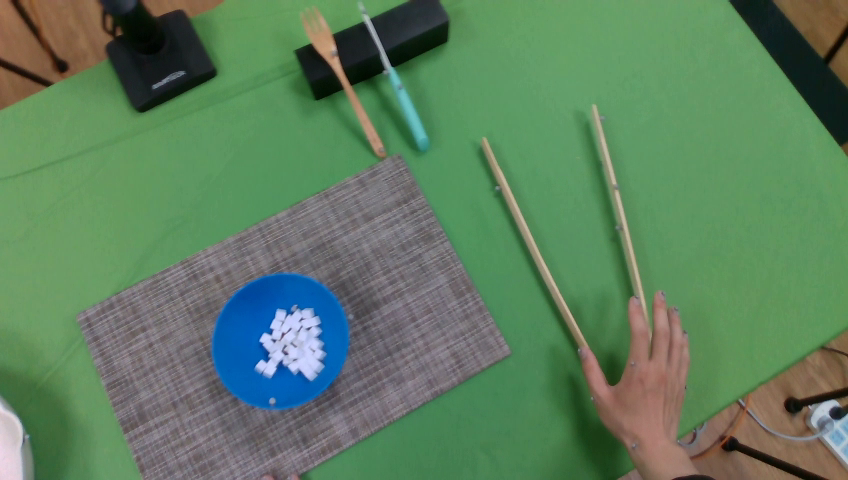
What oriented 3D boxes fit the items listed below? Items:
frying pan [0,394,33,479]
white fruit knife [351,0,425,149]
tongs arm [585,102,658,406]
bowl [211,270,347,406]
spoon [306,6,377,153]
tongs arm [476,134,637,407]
[{"bbox_3d":[-0.524,0.361,0.632,0.307,0.103,0.484,-28,70,-6],"label":"frying pan"},{"bbox_3d":[-0.049,-0.215,0.786,0.016,0.027,0.207,-27,93,-12],"label":"white fruit knife"},{"bbox_3d":[0.234,0.010,0.759,0.051,0.026,0.383,-12,78,-2],"label":"tongs arm"},{"bbox_3d":[-0.160,0.116,0.704,0.151,0.077,0.150,0,76,-1],"label":"bowl"},{"bbox_3d":[-0.103,-0.202,0.777,0.041,0.021,0.194,-17,98,17],"label":"spoon"},{"bbox_3d":[0.155,0.033,0.757,0.028,0.028,0.385,-24,78,-8],"label":"tongs arm"}]
